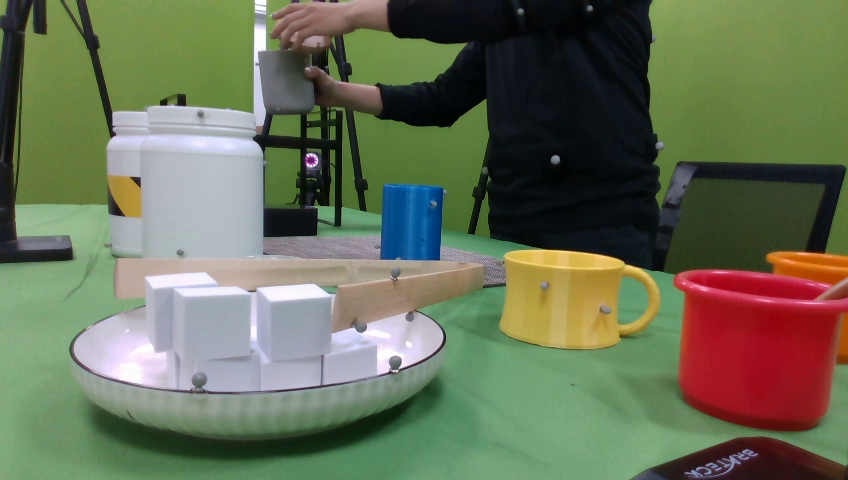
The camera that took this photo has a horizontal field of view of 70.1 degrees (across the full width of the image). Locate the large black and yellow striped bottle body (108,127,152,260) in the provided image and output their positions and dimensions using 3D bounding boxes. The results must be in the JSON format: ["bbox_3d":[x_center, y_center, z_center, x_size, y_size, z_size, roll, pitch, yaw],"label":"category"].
[{"bbox_3d":[-0.350,-0.071,0.812,0.131,0.184,0.130,2,8,0],"label":"large black and yellow striped bottle body"}]

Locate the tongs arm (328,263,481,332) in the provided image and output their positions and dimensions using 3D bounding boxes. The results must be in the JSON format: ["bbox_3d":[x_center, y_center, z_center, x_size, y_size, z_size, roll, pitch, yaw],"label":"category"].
[{"bbox_3d":[-0.003,0.036,0.492,0.050,0.026,0.386,1,-1,19],"label":"tongs arm"}]

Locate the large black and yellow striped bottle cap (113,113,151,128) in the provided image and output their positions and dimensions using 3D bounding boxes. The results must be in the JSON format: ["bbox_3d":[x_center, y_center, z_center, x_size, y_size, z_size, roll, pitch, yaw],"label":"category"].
[{"bbox_3d":[-0.348,-0.154,0.800,0.115,0.019,0.115,2,6,0],"label":"large black and yellow striped bottle cap"}]

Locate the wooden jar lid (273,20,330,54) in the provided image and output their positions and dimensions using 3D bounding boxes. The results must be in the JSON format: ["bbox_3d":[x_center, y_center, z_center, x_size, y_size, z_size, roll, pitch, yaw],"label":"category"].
[{"bbox_3d":[-0.238,-0.391,1.171,0.109,0.020,0.108,15,40,-12],"label":"wooden jar lid"}]

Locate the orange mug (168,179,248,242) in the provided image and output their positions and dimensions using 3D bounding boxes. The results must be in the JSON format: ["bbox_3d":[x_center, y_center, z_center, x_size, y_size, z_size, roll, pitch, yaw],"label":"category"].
[{"bbox_3d":[-0.351,-0.050,0.986,0.126,0.101,0.083,-3,8,-9],"label":"orange mug"}]

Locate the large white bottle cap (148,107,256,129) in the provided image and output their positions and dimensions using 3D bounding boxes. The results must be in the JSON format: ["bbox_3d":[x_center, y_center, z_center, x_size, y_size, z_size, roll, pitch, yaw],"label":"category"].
[{"bbox_3d":[-0.250,-0.137,0.686,0.115,0.018,0.115,2,8,0],"label":"large white bottle cap"}]

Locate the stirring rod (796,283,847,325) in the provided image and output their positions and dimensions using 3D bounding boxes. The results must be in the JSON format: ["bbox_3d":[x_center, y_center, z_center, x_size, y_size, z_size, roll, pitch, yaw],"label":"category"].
[{"bbox_3d":[0.347,0.019,0.460,0.014,0.176,0.006,-17,59,-26],"label":"stirring rod"}]

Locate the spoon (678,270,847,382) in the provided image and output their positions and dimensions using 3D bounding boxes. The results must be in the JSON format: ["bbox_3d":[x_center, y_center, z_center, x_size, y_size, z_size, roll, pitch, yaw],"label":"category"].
[{"bbox_3d":[0.229,0.031,0.338,0.193,0.021,0.042,-44,-16,27],"label":"spoon"}]

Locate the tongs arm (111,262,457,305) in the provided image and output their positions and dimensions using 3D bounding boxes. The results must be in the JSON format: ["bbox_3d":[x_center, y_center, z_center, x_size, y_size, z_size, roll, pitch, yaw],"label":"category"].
[{"bbox_3d":[-0.080,0.033,0.527,0.028,0.027,0.389,-4,-4,33],"label":"tongs arm"}]

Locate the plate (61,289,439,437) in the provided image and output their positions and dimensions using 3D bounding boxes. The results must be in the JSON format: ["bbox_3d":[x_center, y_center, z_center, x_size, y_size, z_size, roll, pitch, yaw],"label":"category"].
[{"bbox_3d":[-0.095,0.069,0.362,0.208,0.039,0.207,3,7,0],"label":"plate"}]

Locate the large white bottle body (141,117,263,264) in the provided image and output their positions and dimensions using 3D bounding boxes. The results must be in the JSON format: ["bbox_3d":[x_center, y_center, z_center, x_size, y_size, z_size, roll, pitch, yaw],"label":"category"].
[{"bbox_3d":[-0.254,-0.054,0.697,0.131,0.184,0.130,2,7,0],"label":"large white bottle body"}]

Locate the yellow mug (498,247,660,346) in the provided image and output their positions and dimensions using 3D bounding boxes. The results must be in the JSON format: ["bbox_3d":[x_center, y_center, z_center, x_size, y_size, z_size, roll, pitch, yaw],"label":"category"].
[{"bbox_3d":[0.130,0.045,0.508,0.131,0.064,0.100,4,7,6],"label":"yellow mug"}]

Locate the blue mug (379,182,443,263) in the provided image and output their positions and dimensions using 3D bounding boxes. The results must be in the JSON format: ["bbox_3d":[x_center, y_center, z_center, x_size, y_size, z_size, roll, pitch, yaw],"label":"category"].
[{"bbox_3d":[-0.020,-0.026,0.833,0.082,0.106,0.116,1,7,-7],"label":"blue mug"}]

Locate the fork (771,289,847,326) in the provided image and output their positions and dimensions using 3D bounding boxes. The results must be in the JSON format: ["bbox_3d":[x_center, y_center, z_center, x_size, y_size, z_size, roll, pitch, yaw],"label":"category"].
[{"bbox_3d":[0.335,0.018,0.443,0.028,0.018,0.207,-1,-36,-20],"label":"fork"}]

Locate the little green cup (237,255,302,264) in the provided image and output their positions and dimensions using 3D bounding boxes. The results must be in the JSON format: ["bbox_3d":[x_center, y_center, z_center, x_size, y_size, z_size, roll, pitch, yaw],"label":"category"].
[{"bbox_3d":[-0.150,0.038,0.590,0.061,0.038,0.061,3,7,0],"label":"little green cup"}]

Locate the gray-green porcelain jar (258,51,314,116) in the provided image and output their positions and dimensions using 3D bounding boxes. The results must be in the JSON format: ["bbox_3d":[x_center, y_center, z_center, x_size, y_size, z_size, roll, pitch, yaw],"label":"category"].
[{"bbox_3d":[-0.284,-0.325,1.255,0.106,0.126,0.106,-2,15,1],"label":"gray-green porcelain jar"}]
